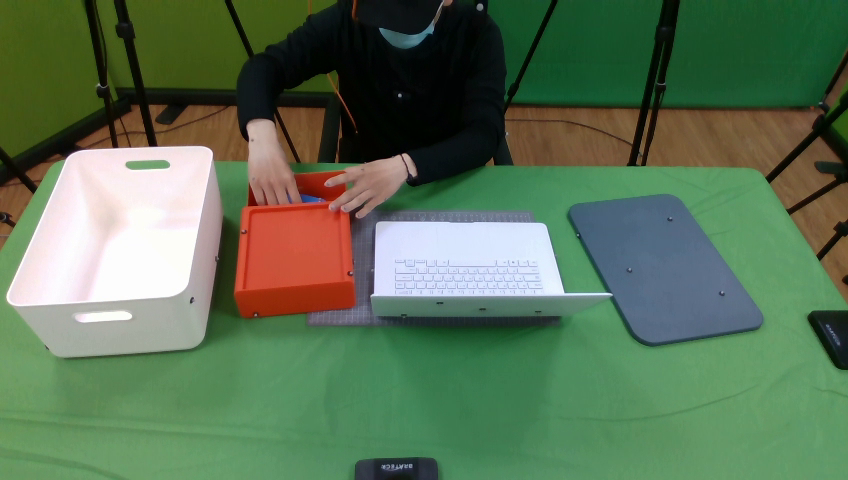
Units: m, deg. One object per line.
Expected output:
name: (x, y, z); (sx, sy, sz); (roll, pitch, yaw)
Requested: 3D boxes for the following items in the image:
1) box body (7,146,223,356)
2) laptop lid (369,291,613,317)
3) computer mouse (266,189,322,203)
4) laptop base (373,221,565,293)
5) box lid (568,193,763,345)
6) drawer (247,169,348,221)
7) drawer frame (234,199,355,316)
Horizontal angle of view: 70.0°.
box body: (-0.499, 0.012, 1.051); (0.254, 0.161, 0.361); (-3, 47, -7)
laptop lid: (0.092, 0.104, 0.965); (0.357, 0.242, 0.013); (0, 76, -5)
computer mouse: (-0.255, -0.068, 1.210); (0.117, 0.041, 0.062); (9, 44, -9)
laptop base: (0.080, 0.049, 1.159); (0.355, 0.023, 0.234); (0, 43, -4)
box lid: (0.464, 0.040, 1.203); (0.264, 0.015, 0.369); (-7, 47, -11)
drawer: (-0.245, -0.041, 1.177); (0.195, 0.073, 0.210); (-4, 47, -6)
drawer frame: (-0.233, 0.026, 1.111); (0.202, 0.083, 0.212); (-5, 47, -8)
